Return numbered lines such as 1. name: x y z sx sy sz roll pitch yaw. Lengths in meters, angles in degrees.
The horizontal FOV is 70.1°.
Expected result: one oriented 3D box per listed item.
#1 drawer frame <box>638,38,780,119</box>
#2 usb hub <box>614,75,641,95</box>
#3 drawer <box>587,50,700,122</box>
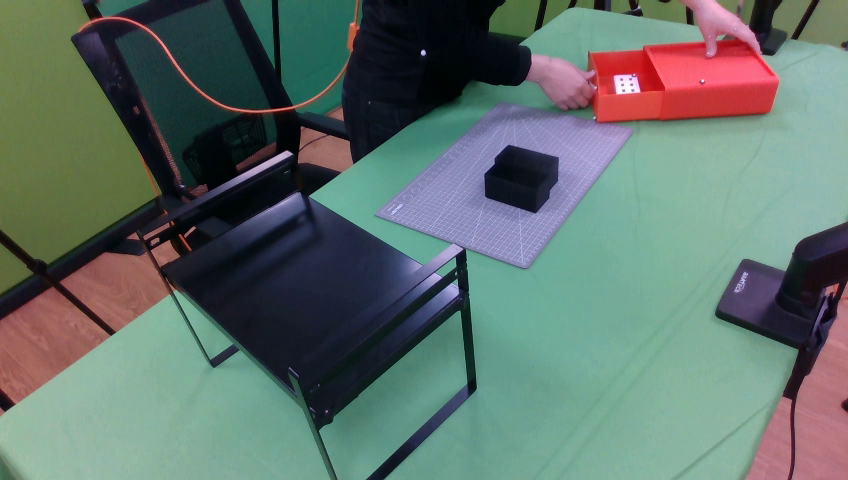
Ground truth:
1. drawer frame: 0.564 -0.329 1.226 0.213 0.083 0.201 -2 41 5
2. usb hub: 0.420 -0.305 1.246 0.049 0.025 0.125 -5 32 18
3. drawer: 0.448 -0.322 1.242 0.211 0.073 0.193 0 40 7
